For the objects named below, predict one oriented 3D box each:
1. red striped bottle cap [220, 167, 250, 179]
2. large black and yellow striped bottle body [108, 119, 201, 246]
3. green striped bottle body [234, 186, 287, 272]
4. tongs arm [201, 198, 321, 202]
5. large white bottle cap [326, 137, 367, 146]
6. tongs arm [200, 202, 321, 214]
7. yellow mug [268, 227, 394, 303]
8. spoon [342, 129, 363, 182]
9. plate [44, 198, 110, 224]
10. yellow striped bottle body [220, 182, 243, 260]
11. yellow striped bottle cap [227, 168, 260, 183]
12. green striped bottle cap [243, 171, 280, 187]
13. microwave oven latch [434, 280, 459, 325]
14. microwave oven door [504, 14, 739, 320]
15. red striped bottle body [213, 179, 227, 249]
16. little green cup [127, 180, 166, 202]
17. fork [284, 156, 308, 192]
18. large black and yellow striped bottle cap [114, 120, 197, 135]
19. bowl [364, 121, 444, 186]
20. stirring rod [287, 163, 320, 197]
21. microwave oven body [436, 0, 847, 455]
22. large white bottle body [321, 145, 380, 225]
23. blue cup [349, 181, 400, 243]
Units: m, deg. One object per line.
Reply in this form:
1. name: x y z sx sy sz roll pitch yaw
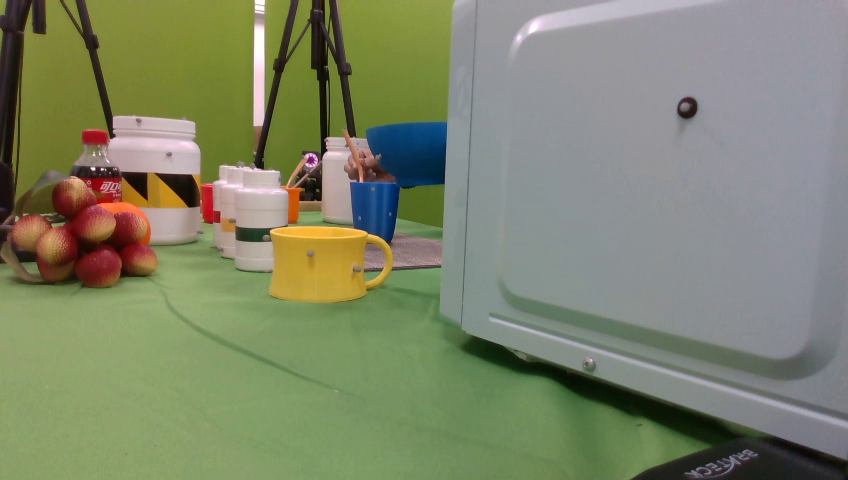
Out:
1. red striped bottle cap: -0.281 -0.100 0.901 0.044 0.017 0.044 0 5 0
2. large black and yellow striped bottle body: -0.412 -0.088 0.930 0.131 0.184 0.130 3 7 0
3. green striped bottle body: -0.201 -0.023 0.743 0.063 0.119 0.063 2 7 0
4. tongs arm: -0.433 -0.090 1.508 0.390 0.028 0.028 -1 2 -29
5. large white bottle cap: -0.158 -0.214 1.329 0.115 0.018 0.115 2 7 0
6. tongs arm: -0.378 -0.079 1.440 0.387 0.026 0.050 -4 8 -44
7. yellow mug: -0.094 0.023 0.629 0.131 0.064 0.099 0 7 -22
8. spoon: -0.114 -0.119 1.040 0.021 0.193 0.042 -16 -31 -1
9. plate: -0.617 -0.056 1.179 0.209 0.038 0.209 3 7 0
10. yellow striped bottle body: -0.245 -0.036 0.825 0.063 0.120 0.063 3 8 0
11. yellow striped bottle cap: -0.243 -0.087 0.818 0.044 0.018 0.044 4 6 0
12. green striped bottle cap: -0.198 -0.074 0.736 0.044 0.020 0.044 1 7 0
13. microwave oven latch: 0.044 0.045 0.470 0.079 0.029 0.030 -2 8 -39
14. microwave oven door: 0.218 -0.065 0.600 0.358 0.243 0.039 -4 10 -41
15. red striped bottle body: -0.284 -0.048 0.909 0.063 0.119 0.063 3 12 0
16. little green cup: -0.486 -0.086 1.061 0.061 0.038 0.061 1 7 0
17. fork: -0.295 -0.116 1.323 0.028 0.019 0.207 1 50 21
18. large black and yellow striped bottle cap: -0.407 -0.171 0.920 0.115 0.019 0.115 2 9 0
19. bowl: -0.004 -0.113 0.819 0.151 0.077 0.151 -2 4 1
20. stirring rod: -0.283 -0.107 1.298 0.014 0.006 0.176 10 53 50
21. microwave oven body: 0.279 -0.040 0.465 0.444 0.260 0.324 -3 9 -41
22. large white bottle body: -0.162 -0.131 1.341 0.131 0.184 0.130 2 8 0
23. blue cup: -0.083 -0.047 1.013 0.093 0.100 0.092 1 7 0
